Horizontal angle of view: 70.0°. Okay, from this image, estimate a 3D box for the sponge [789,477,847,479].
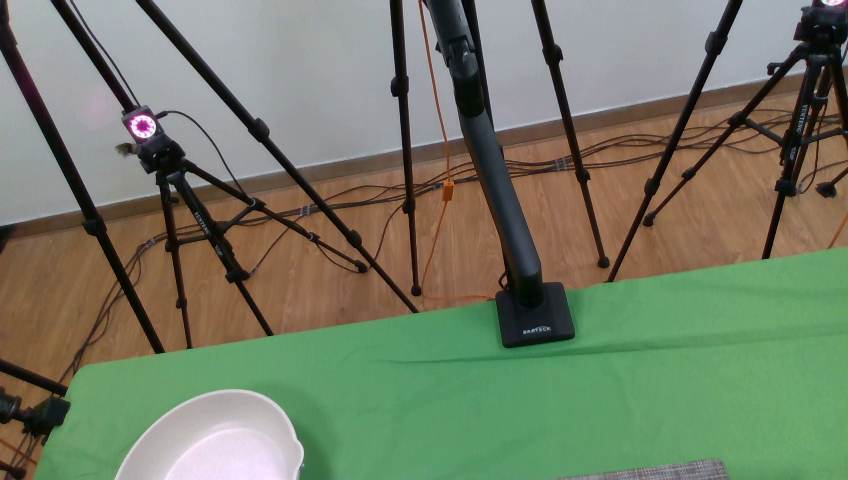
[{"bbox_3d":[0.453,0.363,0.640,0.118,0.061,0.205,-7,47,9],"label":"sponge"}]

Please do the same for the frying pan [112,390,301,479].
[{"bbox_3d":[-0.305,0.431,0.820,0.307,0.104,0.482,-16,38,2],"label":"frying pan"}]
